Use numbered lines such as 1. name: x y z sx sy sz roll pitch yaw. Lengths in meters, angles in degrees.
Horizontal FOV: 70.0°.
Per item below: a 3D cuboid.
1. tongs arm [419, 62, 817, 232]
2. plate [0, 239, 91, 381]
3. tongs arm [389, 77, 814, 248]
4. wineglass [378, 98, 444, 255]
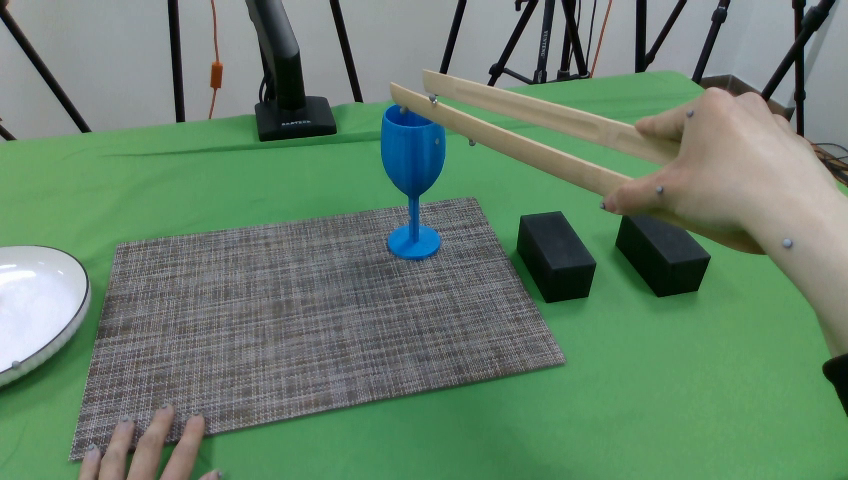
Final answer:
1. tongs arm: 0.121 -0.095 0.499 0.028 0.028 0.383 -30 42 -29
2. plate: -0.443 0.076 0.605 0.209 0.038 0.207 1 39 0
3. tongs arm: 0.101 -0.081 0.486 0.051 0.027 0.380 -30 42 -25
4. wineglass: -0.014 -0.070 0.684 0.074 0.174 0.073 0 39 0
